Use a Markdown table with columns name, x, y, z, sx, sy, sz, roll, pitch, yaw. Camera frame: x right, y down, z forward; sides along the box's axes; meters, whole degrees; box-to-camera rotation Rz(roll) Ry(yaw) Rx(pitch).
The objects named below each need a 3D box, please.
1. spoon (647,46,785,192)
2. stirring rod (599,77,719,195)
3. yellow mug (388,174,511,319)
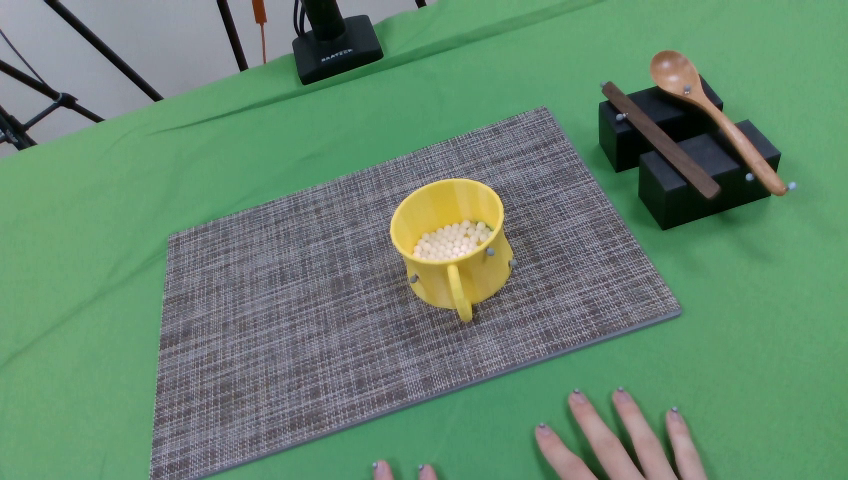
| name | x | y | z | sx | sy | sz | roll | pitch | yaw |
| --- | --- | --- | --- | --- | --- | --- | --- | --- | --- |
| spoon | 0.253 | -0.111 | 0.531 | 0.041 | 0.022 | 0.191 | -18 | 49 | 0 |
| stirring rod | 0.203 | -0.098 | 0.538 | 0.014 | 0.006 | 0.174 | -50 | 42 | 25 |
| yellow mug | 0.026 | 0.010 | 0.527 | 0.100 | 0.064 | 0.129 | -13 | 49 | 6 |
